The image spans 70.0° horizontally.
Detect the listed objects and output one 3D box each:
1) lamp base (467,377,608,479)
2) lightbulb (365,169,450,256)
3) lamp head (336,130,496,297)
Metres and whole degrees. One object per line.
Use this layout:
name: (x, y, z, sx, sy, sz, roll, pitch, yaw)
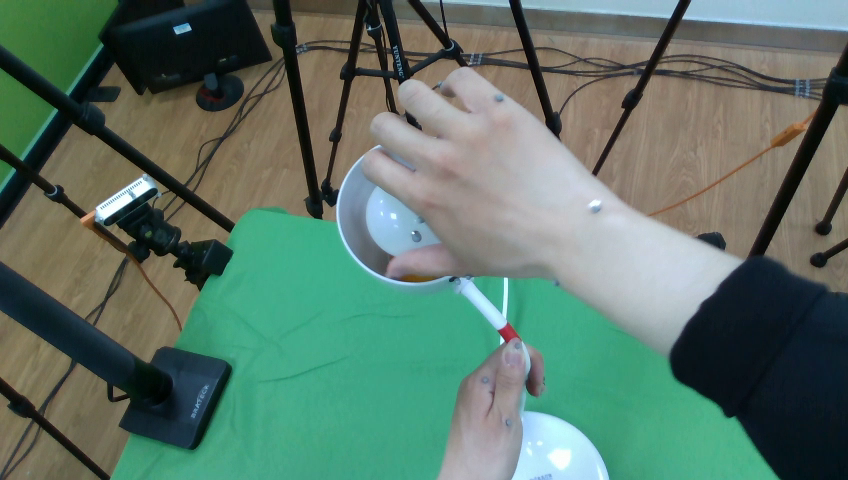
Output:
lamp base: (0.115, 0.226, 0.640, 0.161, 0.182, 0.177, -25, 57, -7)
lightbulb: (-0.008, -0.013, 0.444, 0.059, 0.108, 0.059, -2, 75, 7)
lamp head: (0.001, -0.006, 0.467, 0.112, 0.124, 0.111, -2, 69, 7)
